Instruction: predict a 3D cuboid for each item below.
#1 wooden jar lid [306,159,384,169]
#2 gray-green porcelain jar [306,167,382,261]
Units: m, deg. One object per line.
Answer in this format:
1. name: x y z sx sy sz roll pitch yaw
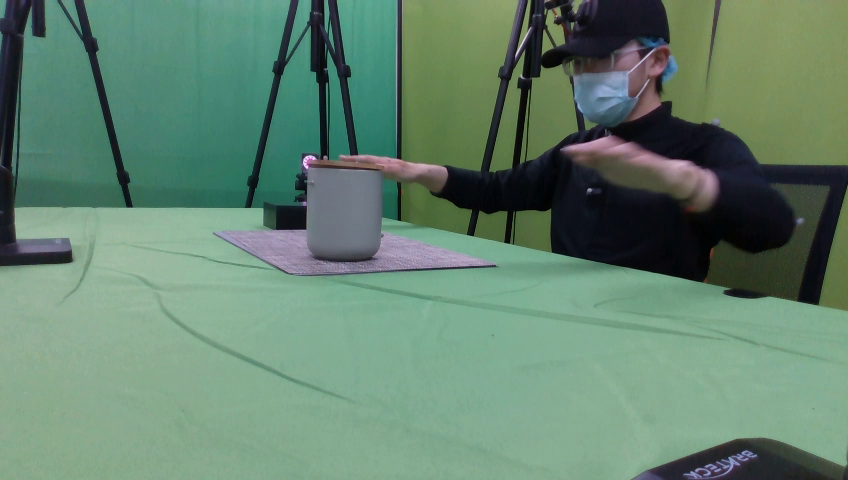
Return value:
1. wooden jar lid: -0.110 -0.100 0.840 0.108 0.020 0.108 4 4 0
2. gray-green porcelain jar: -0.112 -0.039 0.849 0.106 0.126 0.106 2 7 0
